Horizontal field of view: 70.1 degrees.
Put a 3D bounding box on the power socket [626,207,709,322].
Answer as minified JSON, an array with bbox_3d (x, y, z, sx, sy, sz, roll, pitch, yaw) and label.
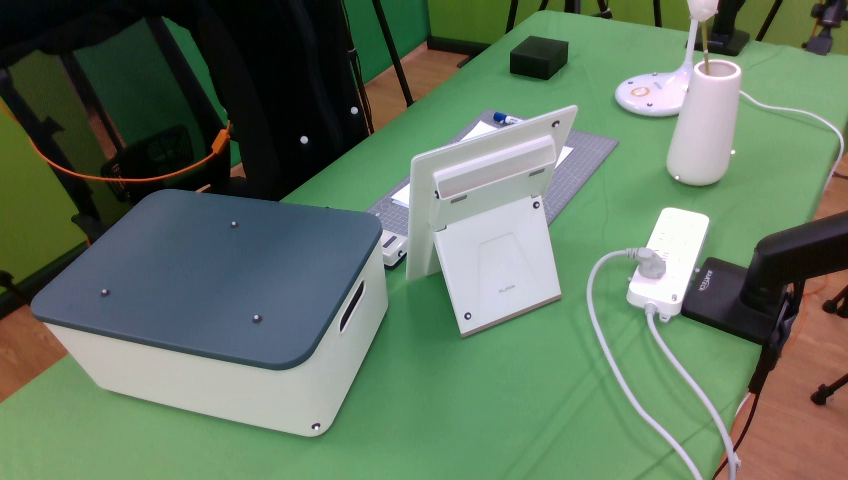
[{"bbox_3d":[0.360,0.026,0.886,0.072,0.033,0.227,17,46,27],"label":"power socket"}]

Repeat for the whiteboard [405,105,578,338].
[{"bbox_3d":[0.103,0.003,0.786,0.218,0.306,0.143,-19,62,-14],"label":"whiteboard"}]

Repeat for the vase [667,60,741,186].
[{"bbox_3d":[0.463,-0.189,0.994,0.098,0.201,0.097,-4,40,4],"label":"vase"}]

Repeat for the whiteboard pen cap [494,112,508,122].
[{"bbox_3d":[0.161,-0.253,1.248,0.033,0.018,0.018,27,51,36],"label":"whiteboard pen cap"}]

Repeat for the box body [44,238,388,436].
[{"bbox_3d":[-0.251,0.088,0.799,0.362,0.161,0.254,7,42,16],"label":"box body"}]

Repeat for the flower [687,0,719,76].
[{"bbox_3d":[0.436,-0.242,0.934,0.038,0.364,0.043,-24,49,8],"label":"flower"}]

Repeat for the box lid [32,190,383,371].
[{"bbox_3d":[-0.257,0.032,0.750,0.370,0.015,0.263,7,41,16],"label":"box lid"}]

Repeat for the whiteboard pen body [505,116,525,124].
[{"bbox_3d":[0.203,-0.232,1.213,0.139,0.017,0.017,28,51,36],"label":"whiteboard pen body"}]

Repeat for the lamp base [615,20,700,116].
[{"bbox_3d":[0.484,-0.364,1.211,0.180,0.181,0.159,-15,41,-14],"label":"lamp base"}]

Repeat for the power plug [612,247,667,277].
[{"bbox_3d":[0.306,0.031,0.852,0.072,0.053,0.035,21,48,38],"label":"power plug"}]

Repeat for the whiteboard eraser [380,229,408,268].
[{"bbox_3d":[-0.081,0.007,0.963,0.112,0.042,0.056,19,48,27],"label":"whiteboard eraser"}]
